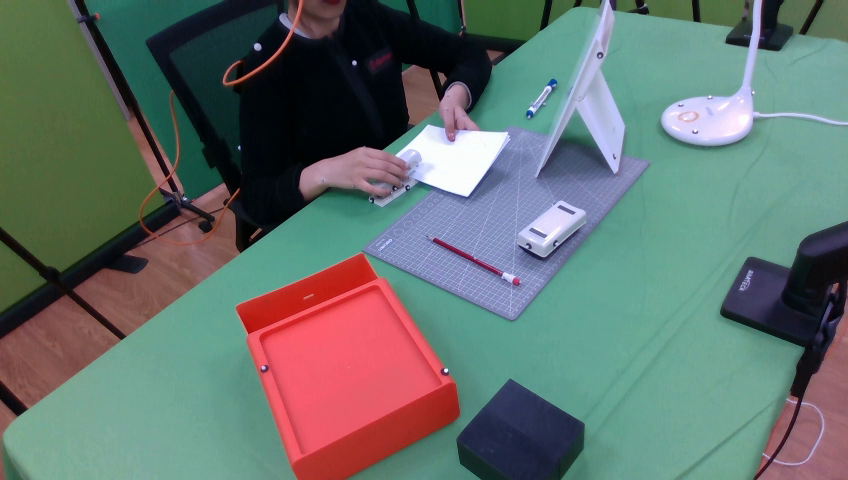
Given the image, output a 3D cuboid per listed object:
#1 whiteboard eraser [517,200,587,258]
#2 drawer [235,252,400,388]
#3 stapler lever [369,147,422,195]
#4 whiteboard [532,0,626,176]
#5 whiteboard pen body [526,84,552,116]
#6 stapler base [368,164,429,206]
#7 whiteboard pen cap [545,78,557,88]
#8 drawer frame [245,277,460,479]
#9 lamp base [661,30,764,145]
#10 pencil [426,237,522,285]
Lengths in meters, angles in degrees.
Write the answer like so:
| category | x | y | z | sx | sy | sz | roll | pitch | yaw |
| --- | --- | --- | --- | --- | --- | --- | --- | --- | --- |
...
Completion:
| category | x | y | z | sx | sy | sz | roll | pitch | yaw |
| --- | --- | --- | --- | --- | --- | --- | --- | --- | --- |
| whiteboard eraser | 0.201 | -0.016 | 0.943 | 0.113 | 0.042 | 0.055 | -37 | 46 | -29 |
| drawer | -0.125 | 0.132 | 0.804 | 0.195 | 0.073 | 0.210 | -23 | 42 | -17 |
| stapler lever | -0.052 | -0.128 | 1.102 | 0.026 | 0.040 | 0.118 | 26 | 53 | 38 |
| whiteboard | 0.321 | -0.258 | 1.050 | 0.144 | 0.306 | 0.217 | 22 | 45 | 5 |
| whiteboard pen body | 0.251 | -0.305 | 1.298 | 0.017 | 0.017 | 0.141 | 15 | 45 | 26 |
| stapler base | -0.047 | -0.110 | 1.119 | 0.041 | 0.024 | 0.131 | 26 | 53 | 38 |
| whiteboard pen cap | 0.280 | -0.344 | 1.335 | 0.018 | 0.018 | 0.033 | 15 | 45 | 26 |
| drawer frame | -0.093 | 0.167 | 0.755 | 0.202 | 0.083 | 0.211 | -23 | 43 | -17 |
| lamp base | 0.535 | -0.287 | 1.096 | 0.179 | 0.181 | 0.159 | -10 | 40 | -4 |
| pencil | 0.072 | 0.028 | 0.941 | 0.192 | 0.012 | 0.012 | 26 | 52 | 37 |
